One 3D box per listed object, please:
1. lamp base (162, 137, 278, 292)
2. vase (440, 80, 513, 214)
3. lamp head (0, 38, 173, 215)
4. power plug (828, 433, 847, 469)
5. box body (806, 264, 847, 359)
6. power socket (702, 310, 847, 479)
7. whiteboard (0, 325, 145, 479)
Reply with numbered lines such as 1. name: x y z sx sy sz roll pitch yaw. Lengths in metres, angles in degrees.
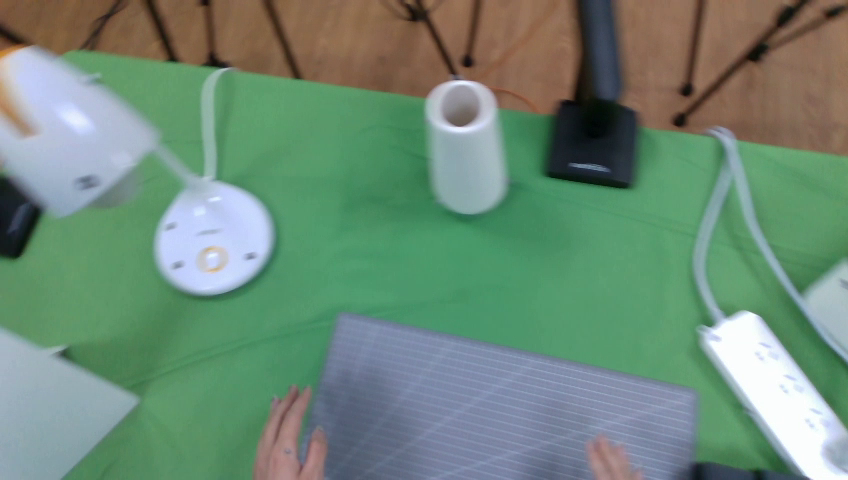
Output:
1. lamp base: -0.292 -0.044 0.769 0.161 0.181 0.177 -18 65 -2
2. vase: 0.066 -0.110 0.752 0.098 0.201 0.097 -1 67 4
3. lamp head: -0.288 -0.101 0.494 0.112 0.124 0.111 -28 27 16
4. power plug: 0.470 0.220 0.648 0.072 0.053 0.035 -16 66 -6
5. box body: 0.635 0.121 0.626 0.254 0.161 0.361 -31 69 -7
6. power socket: 0.412 0.183 0.693 0.072 0.033 0.225 -27 68 -6
7. whiteboard: -0.521 0.166 0.674 0.217 0.309 0.142 -45 51 -12
